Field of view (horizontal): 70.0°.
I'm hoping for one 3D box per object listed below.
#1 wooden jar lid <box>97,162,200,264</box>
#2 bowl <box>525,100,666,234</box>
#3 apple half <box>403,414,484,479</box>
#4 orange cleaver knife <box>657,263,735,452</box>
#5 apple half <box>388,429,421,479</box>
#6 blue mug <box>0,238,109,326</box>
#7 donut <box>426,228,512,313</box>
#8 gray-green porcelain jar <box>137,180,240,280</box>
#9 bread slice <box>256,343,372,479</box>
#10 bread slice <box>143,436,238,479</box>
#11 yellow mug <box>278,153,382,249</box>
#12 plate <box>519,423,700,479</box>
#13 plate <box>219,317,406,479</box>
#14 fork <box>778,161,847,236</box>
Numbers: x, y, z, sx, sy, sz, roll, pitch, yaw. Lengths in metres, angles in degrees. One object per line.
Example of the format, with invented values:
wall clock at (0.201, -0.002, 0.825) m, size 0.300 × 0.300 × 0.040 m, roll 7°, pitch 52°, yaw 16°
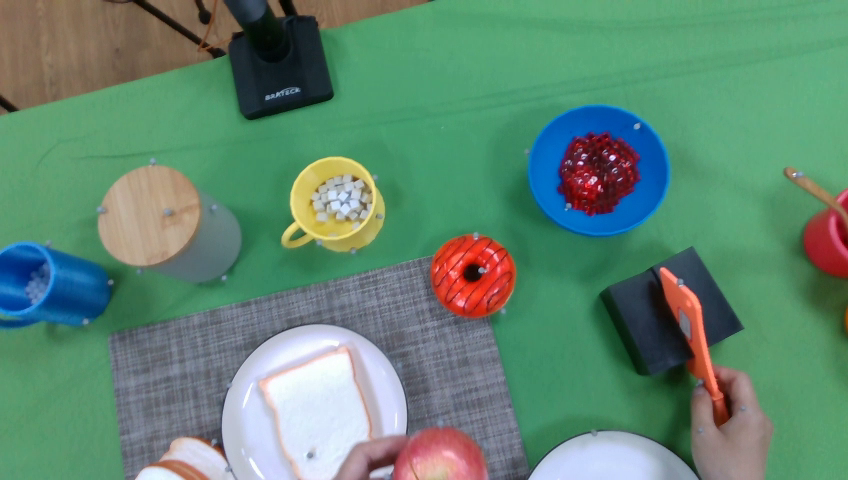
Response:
wooden jar lid at (-0.282, -0.027, 0.628) m, size 0.108 × 0.021 × 0.108 m, roll -1°, pitch 76°, yaw 5°
bowl at (0.188, -0.073, 0.690) m, size 0.151 × 0.077 × 0.150 m, roll -1°, pitch 78°, yaw 5°
apple half at (0.024, 0.184, 0.516) m, size 0.053 × 0.075 × 0.080 m, roll -28°, pitch 76°, yaw 4°
orange cleaver knife at (0.283, 0.124, 0.636) m, size 0.012 × 0.077 × 0.212 m, roll -22°, pitch 105°, yaw 1°
apple half at (-0.010, 0.203, 0.520) m, size 0.033 × 0.082 × 0.081 m, roll -28°, pitch 76°, yaw 6°
blue mug at (-0.444, 0.060, 0.696) m, size 0.116 × 0.106 × 0.082 m, roll -39°, pitch 77°, yaw -4°
donut at (0.052, 0.035, 0.690) m, size 0.099 × 0.048 × 0.098 m, roll -1°, pitch 78°, yaw 4°
gray-green porcelain jar at (-0.277, -0.012, 0.688) m, size 0.106 × 0.127 × 0.105 m, roll -1°, pitch 77°, yaw 4°
bread slice at (-0.114, 0.194, 0.674) m, size 0.107 × 0.018 × 0.133 m, roll -25°, pitch 76°, yaw -1°
bread slice at (-0.261, 0.286, 0.665) m, size 0.104 × 0.019 × 0.131 m, roll 27°, pitch 82°, yaw 6°
yellow mug at (-0.116, -0.035, 0.711) m, size 0.131 × 0.064 × 0.099 m, roll -37°, pitch 78°, yaw -3°
plate at (0.193, 0.297, 0.630) m, size 0.209 × 0.038 × 0.208 m, roll -1°, pitch 78°, yaw 5°
plate at (-0.121, 0.191, 0.673) m, size 0.207 × 0.039 × 0.206 m, roll -1°, pitch 78°, yaw 4°
fork at (0.422, -0.035, 0.626) m, size 0.209 × 0.018 × 0.028 m, roll 25°, pitch 76°, yaw -32°
